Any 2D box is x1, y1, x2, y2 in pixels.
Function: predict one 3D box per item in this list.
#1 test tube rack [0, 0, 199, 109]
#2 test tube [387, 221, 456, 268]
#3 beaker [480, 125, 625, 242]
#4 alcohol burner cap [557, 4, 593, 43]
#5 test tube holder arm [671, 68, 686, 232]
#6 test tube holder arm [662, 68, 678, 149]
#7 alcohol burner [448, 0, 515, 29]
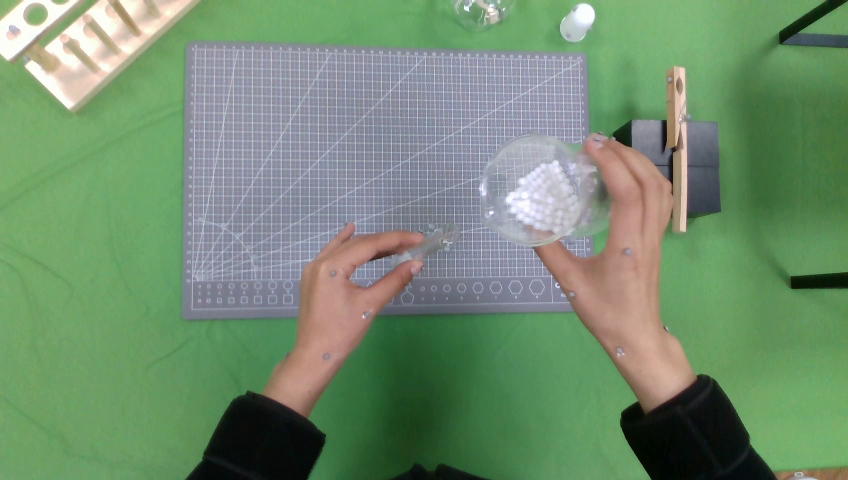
[{"bbox_3d":[-0.307,-0.250,0.616,0.067,0.085,0.242,45,82,0],"label":"test tube rack"},{"bbox_3d":[-0.006,0.006,0.517,0.017,0.150,0.017,4,78,-18],"label":"test tube"},{"bbox_3d":[0.095,-0.036,0.436,0.084,0.101,0.073,-31,76,31],"label":"beaker"},{"bbox_3d":[0.176,-0.250,0.694,0.034,0.048,0.034,1,84,-6],"label":"alcohol burner cap"},{"bbox_3d":[0.274,-0.098,0.657,0.013,0.015,0.178,-1,86,-14],"label":"test tube holder arm"},{"bbox_3d":[0.268,-0.143,0.658,0.010,0.015,0.087,0,86,-13],"label":"test tube holder arm"},{"bbox_3d":[0.065,-0.276,0.648,0.078,0.119,0.077,1,84,-7],"label":"alcohol burner"}]
